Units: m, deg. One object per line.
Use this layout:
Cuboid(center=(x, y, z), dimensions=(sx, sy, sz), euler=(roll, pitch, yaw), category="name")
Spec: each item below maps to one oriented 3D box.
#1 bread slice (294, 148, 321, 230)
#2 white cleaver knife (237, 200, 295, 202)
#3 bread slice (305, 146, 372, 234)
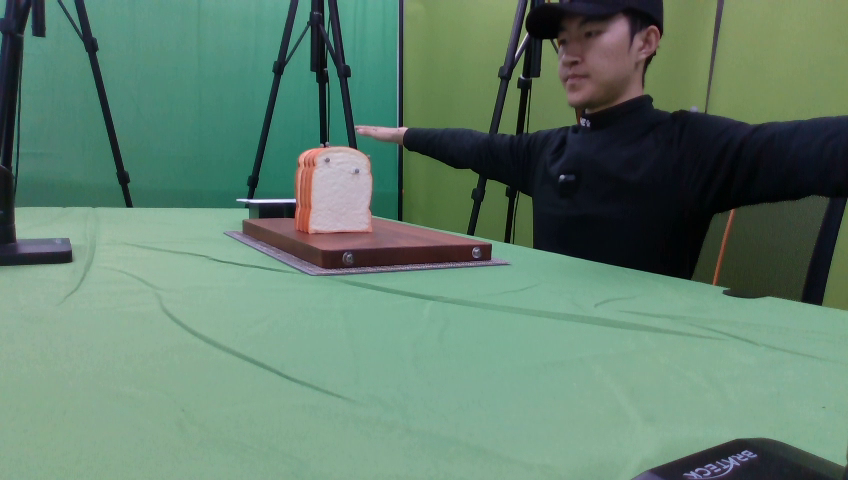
Cuboid(center=(-0.158, -0.081, 0.969), dimensions=(0.105, 0.131, 0.019), euler=(-1, 2, -33), category="bread slice")
Cuboid(center=(-0.263, -0.087, 1.300), dimensions=(0.065, 0.021, 0.288), euler=(9, 8, 42), category="white cleaver knife")
Cuboid(center=(-0.131, -0.076, 0.924), dimensions=(0.107, 0.134, 0.018), euler=(-5, 10, -32), category="bread slice")
